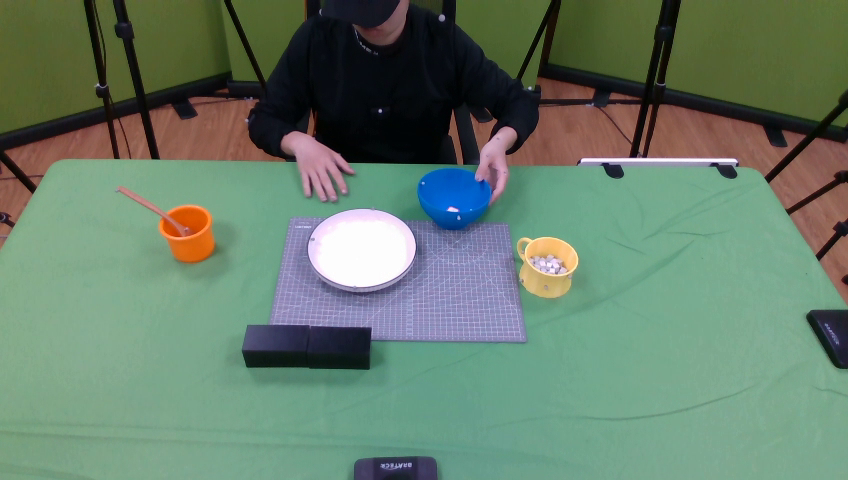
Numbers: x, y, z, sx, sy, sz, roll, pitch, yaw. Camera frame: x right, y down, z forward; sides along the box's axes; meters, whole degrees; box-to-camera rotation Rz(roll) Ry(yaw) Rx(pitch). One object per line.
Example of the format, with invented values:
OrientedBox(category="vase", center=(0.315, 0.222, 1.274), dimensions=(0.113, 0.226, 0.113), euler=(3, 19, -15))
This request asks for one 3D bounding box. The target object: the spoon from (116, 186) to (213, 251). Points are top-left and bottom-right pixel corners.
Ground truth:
OrientedBox(category="spoon", center=(-0.474, -0.041, 1.112), dimensions=(0.021, 0.195, 0.041), euler=(-31, 31, 29))

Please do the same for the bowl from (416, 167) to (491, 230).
OrientedBox(category="bowl", center=(0.057, -0.074, 1.231), dimensions=(0.151, 0.077, 0.150), euler=(3, 42, -2))

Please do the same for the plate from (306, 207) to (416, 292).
OrientedBox(category="plate", center=(-0.119, 0.021, 1.153), dimensions=(0.209, 0.038, 0.208), euler=(2, 46, -2))

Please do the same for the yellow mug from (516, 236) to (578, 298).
OrientedBox(category="yellow mug", center=(0.223, 0.041, 1.145), dimensions=(0.100, 0.064, 0.130), euler=(-30, 55, -29))
